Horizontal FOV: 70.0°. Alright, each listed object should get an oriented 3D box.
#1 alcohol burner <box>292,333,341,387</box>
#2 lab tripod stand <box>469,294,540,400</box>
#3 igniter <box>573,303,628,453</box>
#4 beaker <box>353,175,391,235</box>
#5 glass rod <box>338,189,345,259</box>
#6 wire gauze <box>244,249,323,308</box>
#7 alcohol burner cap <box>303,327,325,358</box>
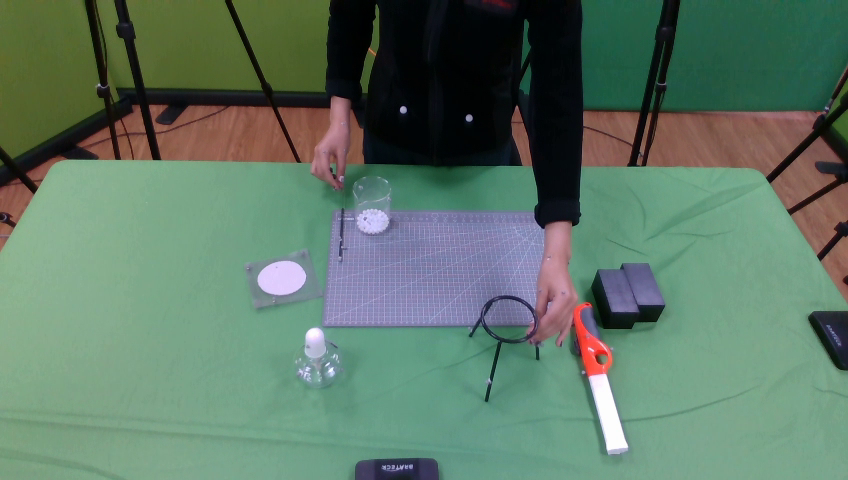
[{"bbox_3d":[-0.170,0.179,0.950,0.078,0.120,0.077,2,48,-2],"label":"alcohol burner"},{"bbox_3d":[0.128,0.165,0.971,0.148,0.132,0.147,3,48,-3],"label":"lab tripod stand"},{"bbox_3d":[0.288,0.217,1.006,0.057,0.025,0.274,-9,46,8],"label":"igniter"},{"bbox_3d":[-0.104,-0.065,1.196,0.074,0.101,0.084,24,50,18],"label":"beaker"},{"bbox_3d":[-0.166,-0.036,1.226,0.008,0.008,0.198,-1,47,-4],"label":"glass rod"},{"bbox_3d":[-0.262,0.071,1.121,0.125,0.011,0.120,-11,48,-17],"label":"wire gauze"},{"bbox_3d":[-0.169,0.154,0.924,0.034,0.048,0.033,4,42,-4],"label":"alcohol burner cap"}]
